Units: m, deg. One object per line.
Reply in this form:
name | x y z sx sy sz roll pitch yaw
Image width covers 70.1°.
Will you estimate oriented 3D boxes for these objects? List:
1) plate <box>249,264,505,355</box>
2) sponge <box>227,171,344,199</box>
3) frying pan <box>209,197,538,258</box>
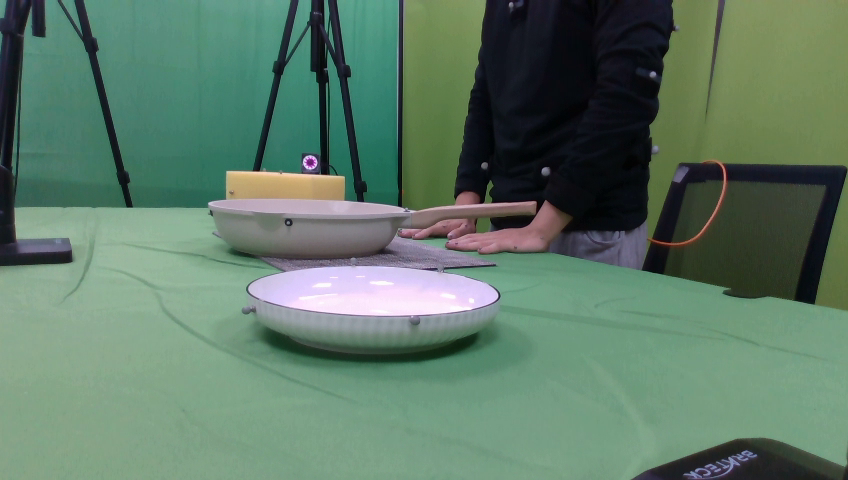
plate | -0.037 0.056 0.504 0.208 0.039 0.207 2 7 0
sponge | -0.283 -0.108 1.242 0.206 0.061 0.118 5 8 23
frying pan | -0.076 -0.034 0.912 0.487 0.102 0.307 -5 7 12
